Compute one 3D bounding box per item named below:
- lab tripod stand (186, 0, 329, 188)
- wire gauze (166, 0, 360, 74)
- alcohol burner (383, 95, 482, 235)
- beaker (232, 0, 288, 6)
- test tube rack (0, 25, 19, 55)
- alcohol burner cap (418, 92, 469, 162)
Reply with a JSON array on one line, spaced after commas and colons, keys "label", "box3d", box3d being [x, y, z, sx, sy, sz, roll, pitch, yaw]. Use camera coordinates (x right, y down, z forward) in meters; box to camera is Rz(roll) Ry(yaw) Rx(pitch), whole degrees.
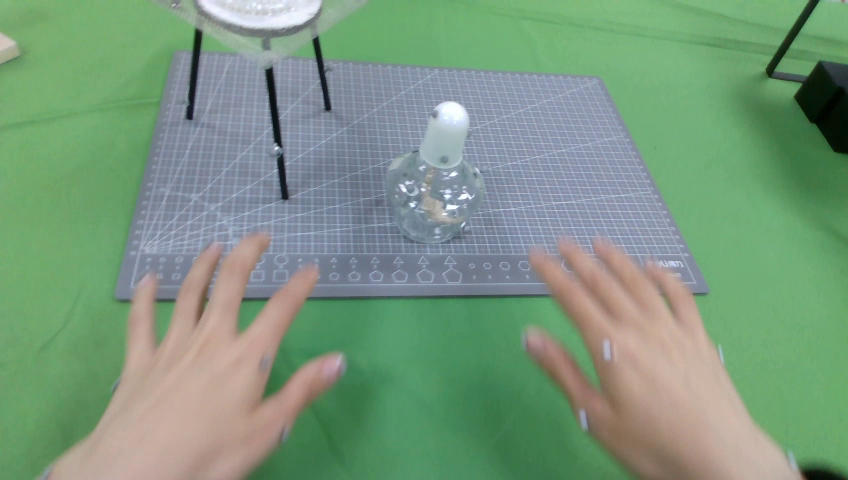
[{"label": "lab tripod stand", "box3d": [-0.125, -0.136, 0.479, 0.149, 0.132, 0.147, 7, 50, -8]}, {"label": "wire gauze", "box3d": [-0.118, -0.178, 0.430, 0.124, 0.011, 0.121, 33, 54, 11]}, {"label": "alcohol burner", "box3d": [0.010, -0.060, 0.457, 0.078, 0.120, 0.077, 7, 48, -7]}, {"label": "beaker", "box3d": [-0.114, -0.214, 0.395, 0.073, 0.101, 0.084, 38, 55, 18]}, {"label": "test tube rack", "box3d": [-0.454, -0.149, 0.457, 0.066, 0.086, 0.241, 31, 51, 14]}, {"label": "alcohol burner cap", "box3d": [0.016, -0.082, 0.429, 0.034, 0.048, 0.033, 6, 54, -7]}]
